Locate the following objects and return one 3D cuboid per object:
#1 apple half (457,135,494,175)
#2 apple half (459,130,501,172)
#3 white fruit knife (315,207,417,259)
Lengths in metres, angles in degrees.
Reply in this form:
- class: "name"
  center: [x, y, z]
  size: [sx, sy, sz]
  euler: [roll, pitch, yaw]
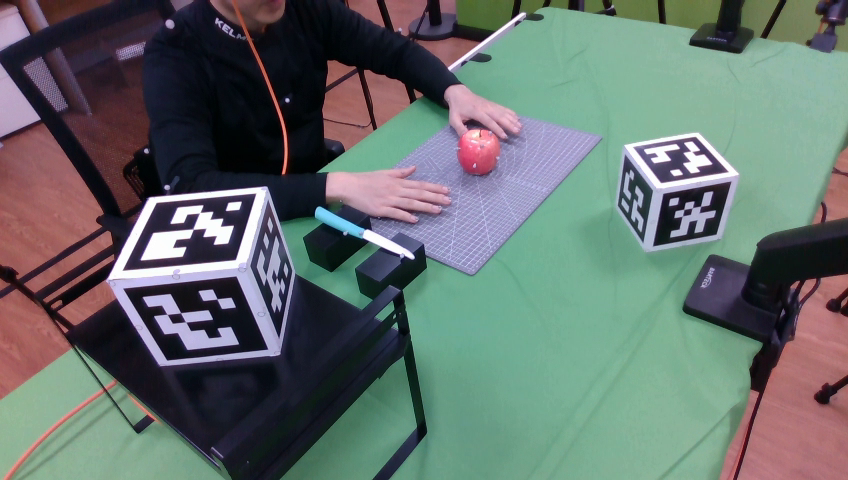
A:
- class: "apple half"
  center: [0.086, -0.145, 1.083]
  size: [0.080, 0.081, 0.033]
  euler: [22, 44, 29]
- class: "apple half"
  center: [0.108, -0.166, 1.106]
  size: [0.080, 0.075, 0.053]
  euler: [18, 41, 33]
- class: "white fruit knife"
  center: [-0.094, -0.010, 0.925]
  size: [0.206, 0.016, 0.027]
  euler: [23, 40, 30]
